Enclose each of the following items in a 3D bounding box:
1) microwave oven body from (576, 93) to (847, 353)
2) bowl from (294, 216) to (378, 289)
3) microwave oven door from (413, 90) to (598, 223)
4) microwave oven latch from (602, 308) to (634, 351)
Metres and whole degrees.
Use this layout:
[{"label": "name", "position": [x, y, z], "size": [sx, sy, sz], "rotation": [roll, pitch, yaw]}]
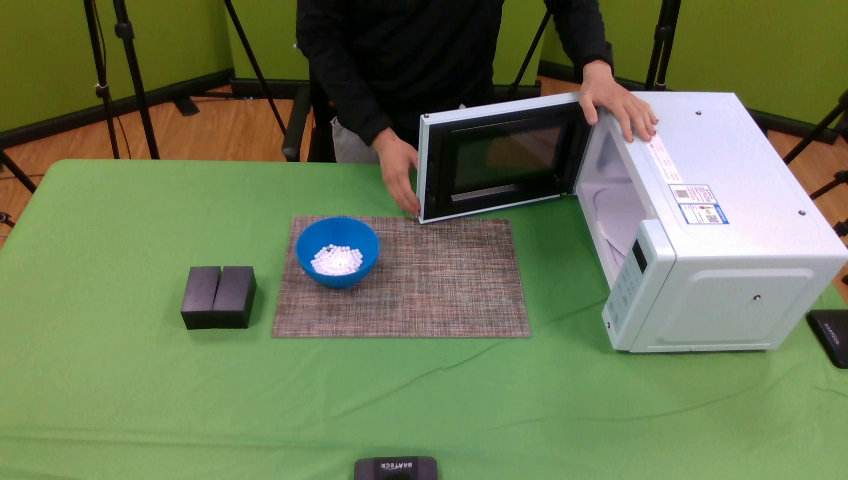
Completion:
[{"label": "microwave oven body", "position": [0.475, -0.041, 1.109], "size": [0.326, 0.261, 0.438], "rotation": [-1, 45, -4]}, {"label": "bowl", "position": [-0.158, 0.036, 1.110], "size": [0.151, 0.077, 0.150], "rotation": [3, 45, -2]}, {"label": "microwave oven door", "position": [0.157, -0.163, 1.196], "size": [0.356, 0.245, 0.039], "rotation": [-12, 48, -15]}, {"label": "microwave oven latch", "position": [0.332, 0.153, 1.044], "size": [0.030, 0.029, 0.078], "rotation": [-1, 45, -4]}]
